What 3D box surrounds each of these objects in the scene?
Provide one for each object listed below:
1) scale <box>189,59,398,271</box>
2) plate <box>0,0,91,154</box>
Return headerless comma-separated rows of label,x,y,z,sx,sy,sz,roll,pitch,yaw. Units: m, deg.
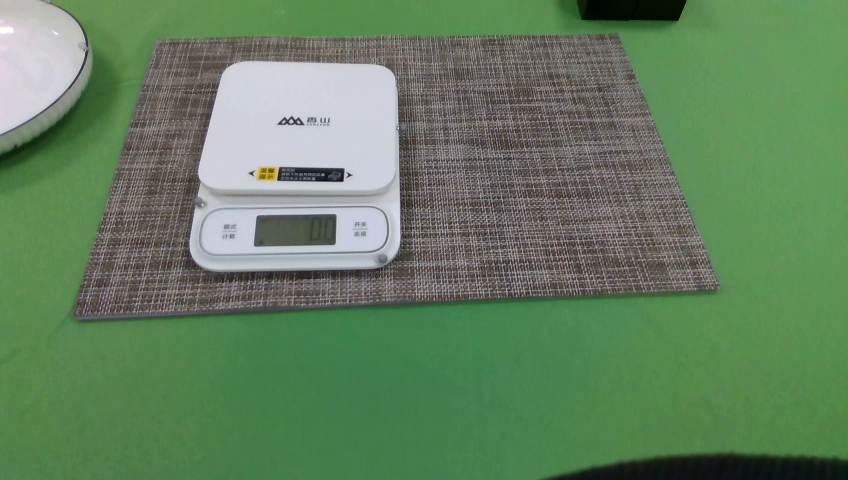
scale,-0.096,-0.066,0.474,0.149,0.032,0.199,-1,55,-3
plate,-0.386,-0.132,0.508,0.208,0.039,0.205,2,54,-2
